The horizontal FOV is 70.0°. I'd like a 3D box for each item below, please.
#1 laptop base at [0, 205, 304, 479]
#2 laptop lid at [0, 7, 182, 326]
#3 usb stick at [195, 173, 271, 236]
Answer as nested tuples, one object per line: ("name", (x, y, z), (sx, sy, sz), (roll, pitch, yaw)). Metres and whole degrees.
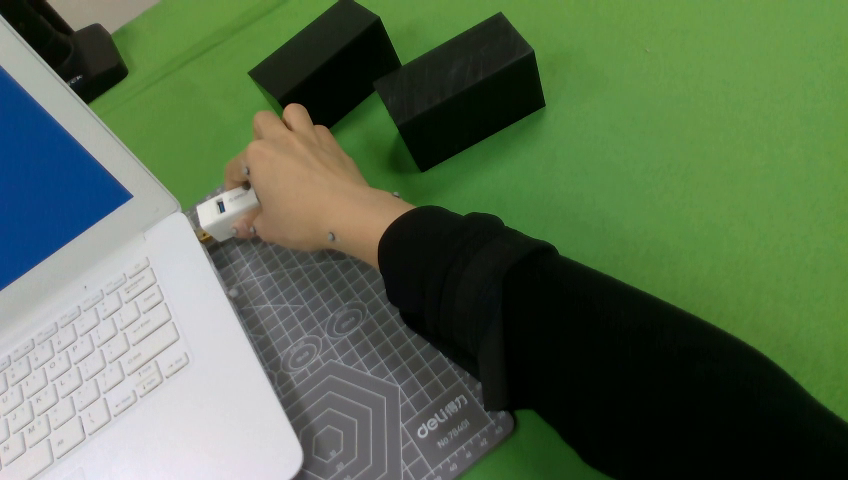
("laptop base", (-0.261, 0.149, 0.386), (0.354, 0.023, 0.233), (-36, 57, -5))
("laptop lid", (-0.372, -0.002, 0.378), (0.356, 0.244, 0.013), (-37, 39, -4))
("usb stick", (-0.142, -0.022, 0.432), (0.059, 0.027, 0.021), (-27, 57, 6))
